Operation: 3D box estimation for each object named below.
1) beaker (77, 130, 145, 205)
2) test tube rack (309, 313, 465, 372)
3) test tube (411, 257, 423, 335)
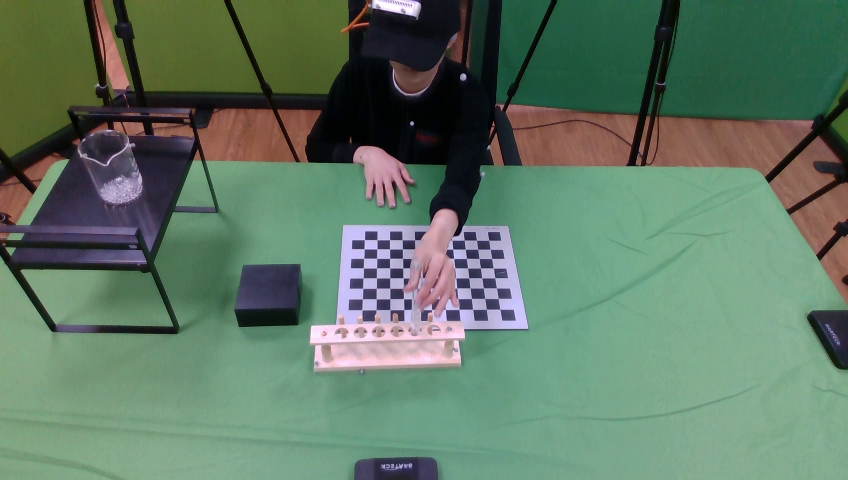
[{"bbox_3d":[-0.493,-0.111,0.965,0.074,0.101,0.083,-14,49,-16],"label":"beaker"},{"bbox_3d":[-0.059,0.161,0.990,0.242,0.085,0.066,-1,46,-5],"label":"test tube rack"},{"bbox_3d":[-0.011,0.088,0.916,0.017,0.151,0.017,1,37,-1],"label":"test tube"}]
